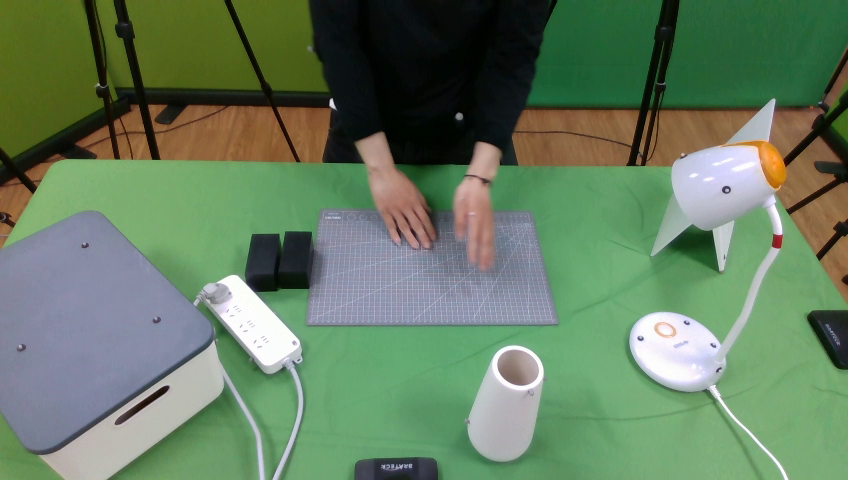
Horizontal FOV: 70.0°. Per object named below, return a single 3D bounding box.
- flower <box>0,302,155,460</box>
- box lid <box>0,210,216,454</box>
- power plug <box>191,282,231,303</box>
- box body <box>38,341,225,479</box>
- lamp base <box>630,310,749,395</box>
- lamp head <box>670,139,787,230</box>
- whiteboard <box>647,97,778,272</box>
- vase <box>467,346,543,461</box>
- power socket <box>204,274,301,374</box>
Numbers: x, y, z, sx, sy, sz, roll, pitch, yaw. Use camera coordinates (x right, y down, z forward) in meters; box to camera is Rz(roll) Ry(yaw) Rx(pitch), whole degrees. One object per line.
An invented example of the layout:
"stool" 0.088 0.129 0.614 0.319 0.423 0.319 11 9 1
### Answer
"flower" -0.553 0.222 0.944 0.361 0.038 0.044 39 62 6
"box lid" -0.504 0.102 0.863 0.369 0.015 0.263 35 53 26
"power plug" -0.368 0.097 1.039 0.072 0.053 0.035 -27 55 -21
"box body" -0.506 0.154 0.916 0.362 0.161 0.254 35 54 26
"lamp base" 0.447 0.142 0.984 0.161 0.181 0.178 -24 55 -24
"lamp head" 0.415 -0.079 0.812 0.113 0.123 0.112 13 70 -37
"whiteboard" 0.602 -0.079 1.162 0.144 0.306 0.216 35 51 2
"vase" 0.116 0.234 0.861 0.098 0.201 0.097 1 47 -1
"power socket" -0.296 0.140 1.035 0.072 0.033 0.225 -33 57 -29
